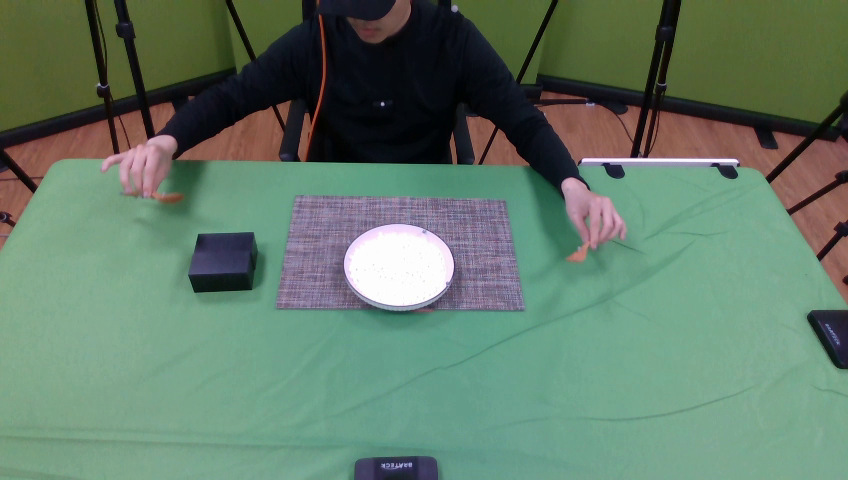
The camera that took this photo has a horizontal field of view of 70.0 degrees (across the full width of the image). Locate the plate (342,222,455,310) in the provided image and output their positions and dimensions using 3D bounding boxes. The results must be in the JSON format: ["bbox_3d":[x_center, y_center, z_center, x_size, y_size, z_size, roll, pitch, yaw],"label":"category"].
[{"bbox_3d":[-0.047,0.052,1.127,0.209,0.038,0.208,3,46,-2],"label":"plate"}]

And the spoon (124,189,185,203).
[{"bbox_3d":[-0.509,-0.085,1.133,0.193,0.021,0.042,11,11,37],"label":"spoon"}]

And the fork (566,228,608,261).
[{"bbox_3d":[0.311,0.007,1.140,0.028,0.019,0.207,7,23,32],"label":"fork"}]
